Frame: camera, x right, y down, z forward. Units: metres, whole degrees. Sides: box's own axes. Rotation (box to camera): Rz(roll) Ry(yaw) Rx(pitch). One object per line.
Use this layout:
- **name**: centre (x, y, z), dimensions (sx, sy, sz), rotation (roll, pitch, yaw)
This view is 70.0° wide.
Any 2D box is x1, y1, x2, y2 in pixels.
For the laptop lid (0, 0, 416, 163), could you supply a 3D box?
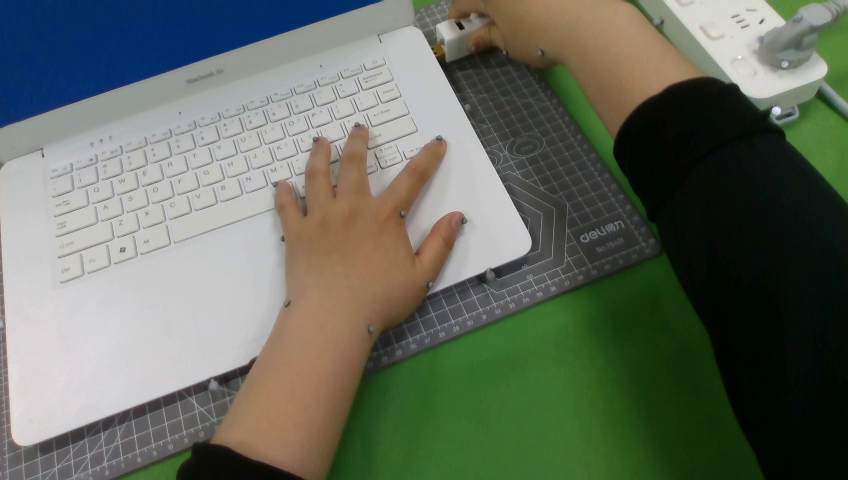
- **laptop lid**: centre (-0.189, -0.193, 0.412), dimensions (0.357, 0.244, 0.013), rotation (-22, 48, -5)

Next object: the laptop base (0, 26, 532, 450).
- **laptop base**: centre (-0.128, -0.022, 0.445), dimensions (0.354, 0.023, 0.233), rotation (-21, 66, -6)

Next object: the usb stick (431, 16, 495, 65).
- **usb stick**: centre (0.027, -0.161, 0.494), dimensions (0.059, 0.027, 0.021), rotation (-16, 61, -6)

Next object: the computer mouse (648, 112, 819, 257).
- **computer mouse**: centre (0.208, -0.044, 0.412), dimensions (0.063, 0.041, 0.116), rotation (-22, 57, -6)

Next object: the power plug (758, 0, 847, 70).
- **power plug**: centre (0.281, -0.143, 0.440), dimensions (0.072, 0.053, 0.035), rotation (-10, 63, -2)

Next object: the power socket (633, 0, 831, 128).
- **power socket**: centre (0.231, -0.182, 0.490), dimensions (0.072, 0.033, 0.224), rotation (-20, 60, -5)
